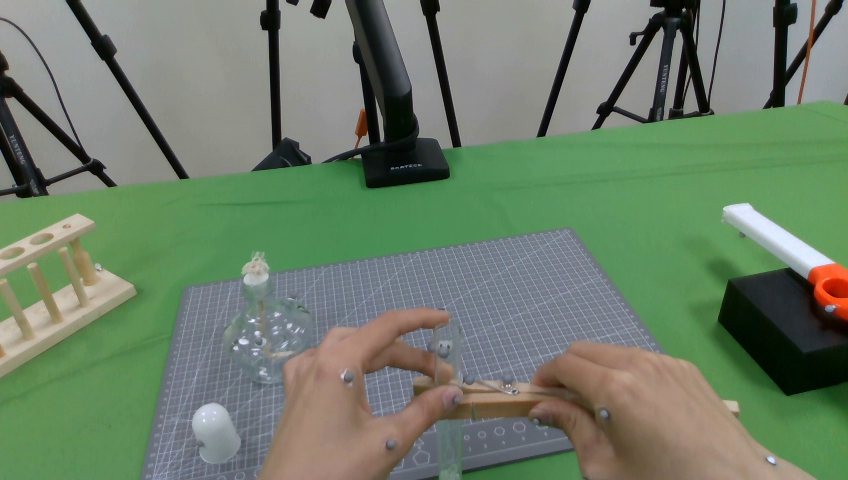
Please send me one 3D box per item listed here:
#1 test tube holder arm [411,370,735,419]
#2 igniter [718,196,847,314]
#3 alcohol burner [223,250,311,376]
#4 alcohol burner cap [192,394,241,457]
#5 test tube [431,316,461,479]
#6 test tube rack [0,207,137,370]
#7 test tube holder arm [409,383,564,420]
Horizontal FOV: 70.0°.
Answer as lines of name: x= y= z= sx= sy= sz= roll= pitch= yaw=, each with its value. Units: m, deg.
test tube holder arm: x=0.080 y=0.088 z=0.346 sx=0.178 sy=0.015 sz=0.013 roll=1 pitch=36 yaw=11
igniter: x=0.356 y=0.028 z=0.534 sx=0.057 sy=0.025 sz=0.273 roll=-10 pitch=31 yaw=-8
alcohol burner: x=-0.140 y=0.061 z=0.532 sx=0.078 sy=0.120 sz=0.077 roll=-2 pitch=33 yaw=2
alcohol burner cap: x=-0.166 y=0.143 z=0.478 sx=0.034 sy=0.048 sz=0.033 roll=-2 pitch=34 yaw=2
test tube: x=0.014 y=0.106 z=0.367 sx=0.017 sy=0.151 sz=0.017 roll=-1 pitch=35 yaw=1
test tube rack: x=-0.413 y=0.066 z=0.578 sx=0.066 sy=0.086 sz=0.242 roll=20 pitch=41 yaw=30
test tube holder arm: x=0.036 y=0.092 z=0.347 sx=0.088 sy=0.015 sz=0.010 roll=-6 pitch=35 yaw=1
